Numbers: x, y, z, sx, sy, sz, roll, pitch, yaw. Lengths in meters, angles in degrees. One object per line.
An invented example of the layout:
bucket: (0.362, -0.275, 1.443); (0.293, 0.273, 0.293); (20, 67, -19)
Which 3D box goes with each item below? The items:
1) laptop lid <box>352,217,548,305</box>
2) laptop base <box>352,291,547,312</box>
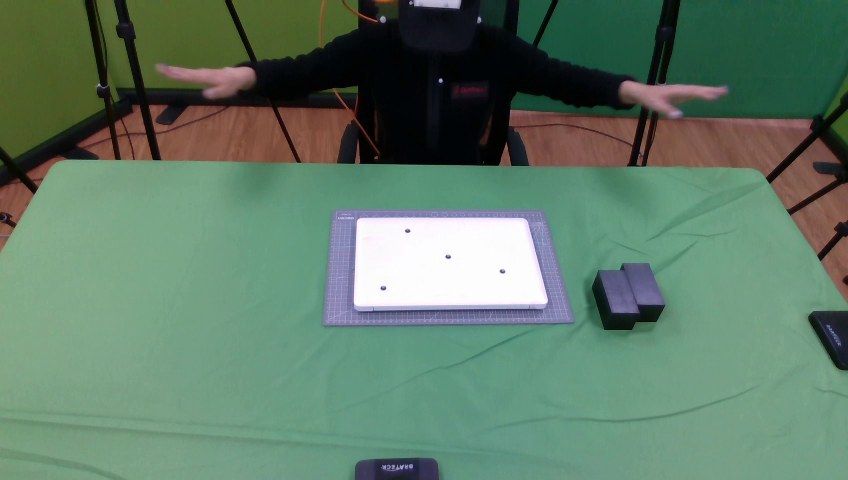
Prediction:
laptop lid: (0.044, 0.034, 1.155); (0.357, 0.013, 0.240); (1, 44, -3)
laptop base: (0.043, 0.044, 1.162); (0.355, 0.023, 0.234); (0, 43, -5)
